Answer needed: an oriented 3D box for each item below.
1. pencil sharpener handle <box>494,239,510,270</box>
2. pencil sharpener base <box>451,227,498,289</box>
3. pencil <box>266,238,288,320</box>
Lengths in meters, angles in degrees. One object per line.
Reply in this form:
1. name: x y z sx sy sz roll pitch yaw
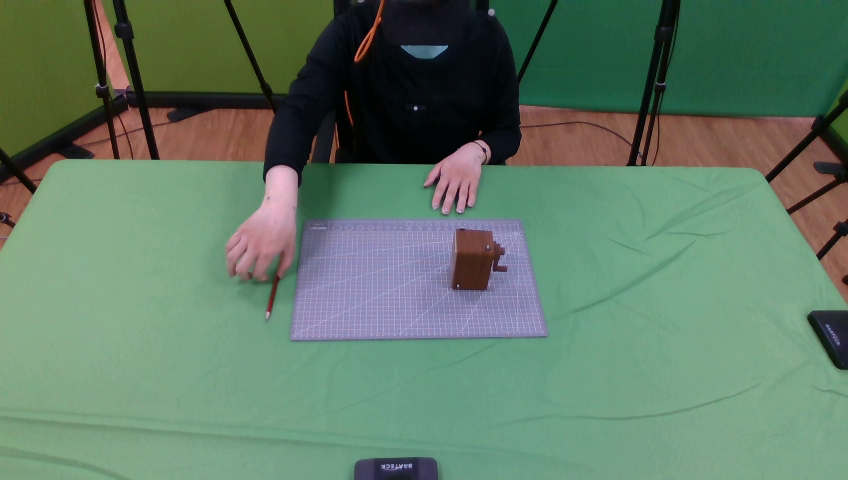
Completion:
1. pencil sharpener handle: 0.143 0.029 1.094 0.030 0.068 0.036 3 42 -1
2. pencil sharpener base: 0.091 0.034 1.103 0.077 0.107 0.061 3 46 -1
3. pencil: -0.272 0.068 1.119 0.012 0.012 0.193 3 47 -1
